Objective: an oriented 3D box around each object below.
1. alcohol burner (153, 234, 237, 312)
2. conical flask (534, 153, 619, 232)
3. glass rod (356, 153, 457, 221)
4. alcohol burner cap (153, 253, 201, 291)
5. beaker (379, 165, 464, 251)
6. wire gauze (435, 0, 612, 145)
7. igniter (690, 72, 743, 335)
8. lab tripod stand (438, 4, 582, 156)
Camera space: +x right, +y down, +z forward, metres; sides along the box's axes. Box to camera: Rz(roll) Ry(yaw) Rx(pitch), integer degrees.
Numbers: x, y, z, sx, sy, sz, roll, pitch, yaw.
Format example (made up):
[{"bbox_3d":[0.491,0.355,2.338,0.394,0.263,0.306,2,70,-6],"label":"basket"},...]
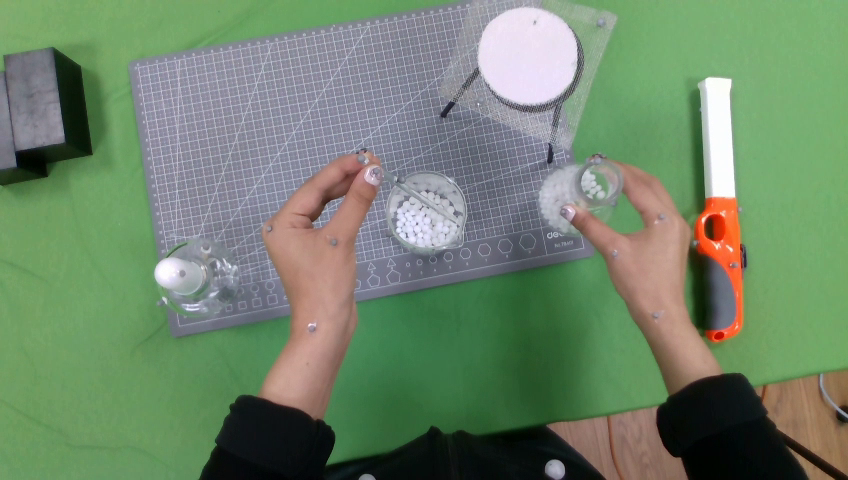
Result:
[{"bbox_3d":[-0.223,0.031,0.578,0.078,0.119,0.078,0,86,0],"label":"alcohol burner"},{"bbox_3d":[0.143,-0.048,0.547,0.075,0.122,0.075,0,87,3],"label":"conical flask"},{"bbox_3d":[-0.008,-0.040,0.518,0.008,0.201,0.008,-5,77,22],"label":"glass rod"},{"bbox_3d":[-0.223,0.027,0.542,0.034,0.048,0.033,0,78,-2],"label":"alcohol burner cap"},{"bbox_3d":[0.001,-0.025,0.593,0.084,0.100,0.074,43,86,2],"label":"beaker"},{"bbox_3d":[0.085,-0.160,0.520,0.125,0.011,0.121,21,87,2],"label":"wire gauze"},{"bbox_3d":[0.306,-0.039,0.637,0.057,0.025,0.276,1,86,-11],"label":"igniter"},{"bbox_3d":[0.088,-0.153,0.586,0.148,0.131,0.148,0,87,1],"label":"lab tripod stand"}]
